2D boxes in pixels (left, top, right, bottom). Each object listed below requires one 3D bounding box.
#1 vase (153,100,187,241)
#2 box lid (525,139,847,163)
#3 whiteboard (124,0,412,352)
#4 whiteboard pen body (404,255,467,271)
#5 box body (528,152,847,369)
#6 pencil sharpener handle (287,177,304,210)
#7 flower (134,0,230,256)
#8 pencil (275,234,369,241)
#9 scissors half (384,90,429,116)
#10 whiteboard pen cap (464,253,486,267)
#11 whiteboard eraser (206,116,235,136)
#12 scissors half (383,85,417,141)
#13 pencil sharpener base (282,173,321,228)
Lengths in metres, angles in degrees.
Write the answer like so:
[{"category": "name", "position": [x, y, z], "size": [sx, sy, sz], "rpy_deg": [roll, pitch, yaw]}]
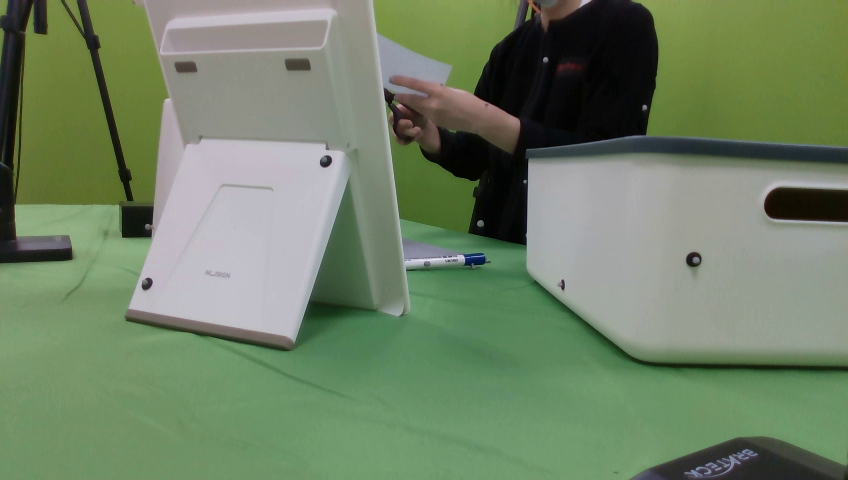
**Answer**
[{"category": "vase", "position": [-0.278, -0.066, 0.736], "size": [0.098, 0.200, 0.098], "rpy_deg": [2, 9, 0]}, {"category": "box lid", "position": [0.261, -0.078, 0.580], "size": [0.264, 0.015, 0.371], "rpy_deg": [2, 7, -4]}, {"category": "whiteboard", "position": [-0.151, -0.049, 0.472], "size": [0.216, 0.305, 0.144], "rpy_deg": [6, 27, 24]}, {"category": "whiteboard pen body", "position": [0.012, 0.030, 0.792], "size": [0.141, 0.017, 0.017], "rpy_deg": [-3, 9, -24]}, {"category": "box body", "position": [0.258, -0.005, 0.591], "size": [0.254, 0.160, 0.363], "rpy_deg": [2, 7, -4]}, {"category": "pencil sharpener handle", "position": [-0.269, -0.096, 1.257], "size": [0.036, 0.067, 0.030], "rpy_deg": [-8, 8, -27]}, {"category": "flower", "position": [-0.282, -0.147, 0.713], "size": [0.038, 0.362, 0.044], "rpy_deg": [-23, 24, -31]}, {"category": "pencil", "position": [-0.169, -0.006, 1.036], "size": [0.195, 0.012, 0.012], "rpy_deg": [-2, 9, -45]}, {"category": "scissors half", "position": [-0.052, -0.254, 1.049], "size": [0.013, 0.040, 0.176], "rpy_deg": [16, 5, 43]}, {"category": "whiteboard pen cap", "position": [0.066, 0.027, 0.818], "size": [0.033, 0.018, 0.018], "rpy_deg": [-6, 10, -24]}, {"category": "whiteboard eraser", "position": [-0.450, -0.252, 1.335], "size": [0.056, 0.042, 0.112], "rpy_deg": [1, 7, -22]}, {"category": "scissors half", "position": [-0.062, -0.234, 1.047], "size": [0.012, 0.040, 0.176], "rpy_deg": [22, -22, 43]}, {"category": "pencil sharpener base", "position": [-0.247, -0.080, 1.212], "size": [0.061, 0.107, 0.076], "rpy_deg": [-2, 5, -28]}]
